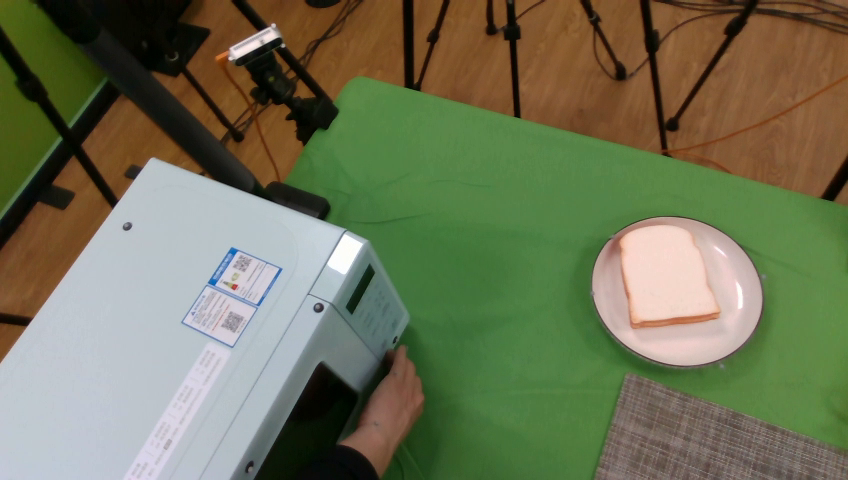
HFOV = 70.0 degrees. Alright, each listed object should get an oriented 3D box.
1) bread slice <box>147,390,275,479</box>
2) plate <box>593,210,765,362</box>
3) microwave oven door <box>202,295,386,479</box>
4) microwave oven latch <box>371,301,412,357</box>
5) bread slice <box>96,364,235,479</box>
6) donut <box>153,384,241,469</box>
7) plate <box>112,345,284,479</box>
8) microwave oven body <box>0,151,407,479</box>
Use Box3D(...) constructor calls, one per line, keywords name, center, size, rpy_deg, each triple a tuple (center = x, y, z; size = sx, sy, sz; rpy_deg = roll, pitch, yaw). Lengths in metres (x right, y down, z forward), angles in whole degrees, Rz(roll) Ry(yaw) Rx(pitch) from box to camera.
Box3D(name="bread slice", center=(-0.267, 0.258, 0.748), size=(0.131, 0.019, 0.104), rpy_deg=(-31, 61, -34))
Box3D(name="plate", center=(0.324, 0.060, 0.785), size=(0.207, 0.039, 0.206), rpy_deg=(-4, 63, 9))
Box3D(name="microwave oven door", center=(-0.161, 0.253, 0.642), size=(0.039, 0.246, 0.354), rpy_deg=(20, 69, 19))
Box3D(name="microwave oven latch", center=(-0.046, 0.114, 0.805), size=(0.030, 0.030, 0.079), rpy_deg=(27, 72, 21))
Box3D(name="bread slice", center=(-0.284, 0.208, 0.685), size=(0.106, 0.018, 0.134), rpy_deg=(32, 66, 12))
Box3D(name="donut", center=(-0.264, 0.218, 0.710), size=(0.099, 0.048, 0.098), rpy_deg=(1, 59, -2))
Box3D(name="plate", center=(-0.267, 0.231, 0.732), size=(0.209, 0.038, 0.207), rpy_deg=(-3, 66, 6))
Box3D(name="microwave oven body", center=(-0.270, 0.172, 0.708), size=(0.324, 0.262, 0.440), rpy_deg=(21, 70, 19))
